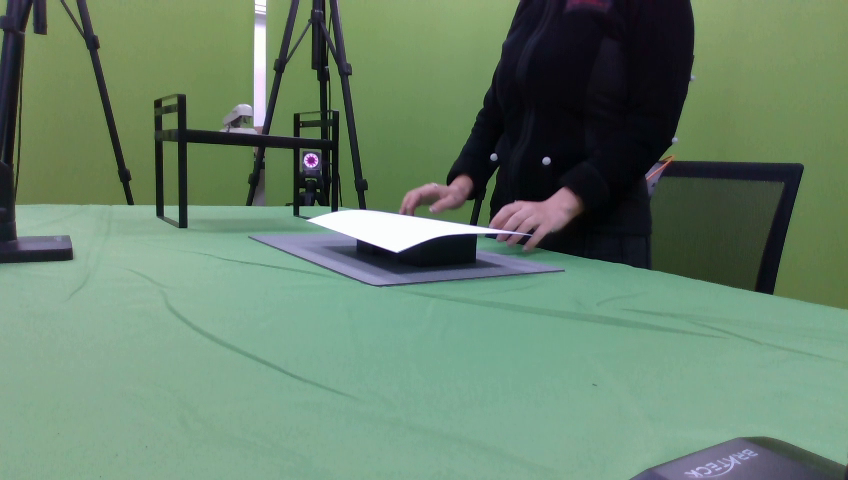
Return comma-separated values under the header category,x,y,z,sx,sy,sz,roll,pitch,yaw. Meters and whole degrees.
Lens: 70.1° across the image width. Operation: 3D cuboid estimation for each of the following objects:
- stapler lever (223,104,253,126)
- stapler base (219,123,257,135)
category,x,y,z,sx,sy,sz,roll,pitch,yaw
stapler lever,-0.376,-0.250,1.219,0.027,0.040,0.117,1,6,-36
stapler base,-0.375,-0.225,1.221,0.041,0.024,0.130,1,5,-36
